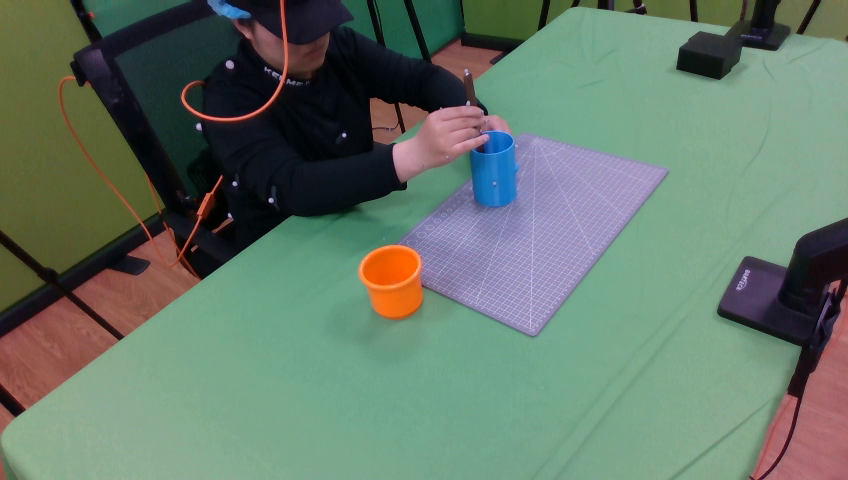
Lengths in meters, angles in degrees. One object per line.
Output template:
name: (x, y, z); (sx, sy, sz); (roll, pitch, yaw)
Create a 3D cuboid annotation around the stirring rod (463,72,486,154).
stirring rod: (0.082, -0.190, 0.958); (0.014, 0.177, 0.005); (-34, 49, -14)

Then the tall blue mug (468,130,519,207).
tall blue mug: (0.114, -0.131, 1.045); (0.078, 0.108, 0.106); (-20, 41, -10)
